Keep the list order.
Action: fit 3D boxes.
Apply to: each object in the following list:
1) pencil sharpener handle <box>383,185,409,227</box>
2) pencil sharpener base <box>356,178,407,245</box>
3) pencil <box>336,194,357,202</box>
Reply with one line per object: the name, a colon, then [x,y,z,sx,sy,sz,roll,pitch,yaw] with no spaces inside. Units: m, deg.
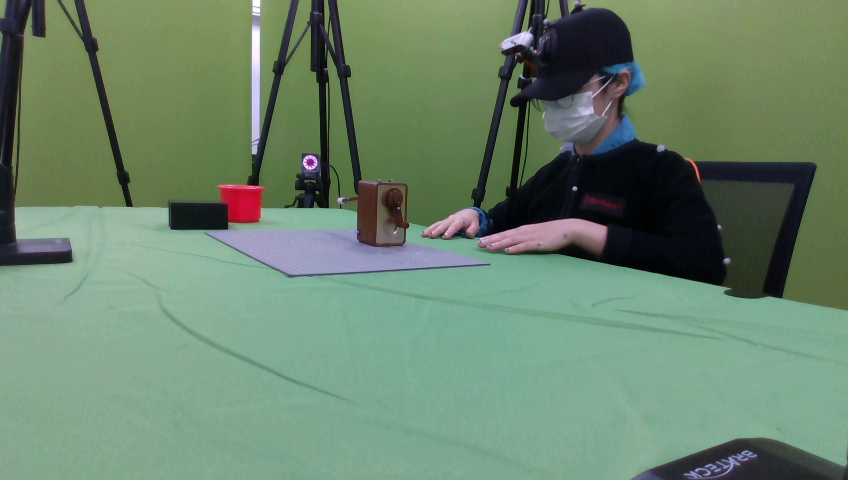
pencil sharpener handle: [-0.040,-0.055,0.976,0.036,0.068,0.030,-19,17,-29]
pencil sharpener base: [-0.071,-0.049,1.018,0.062,0.107,0.076,-2,9,-32]
pencil: [-0.122,-0.080,1.103,0.012,0.012,0.193,-2,0,-29]
